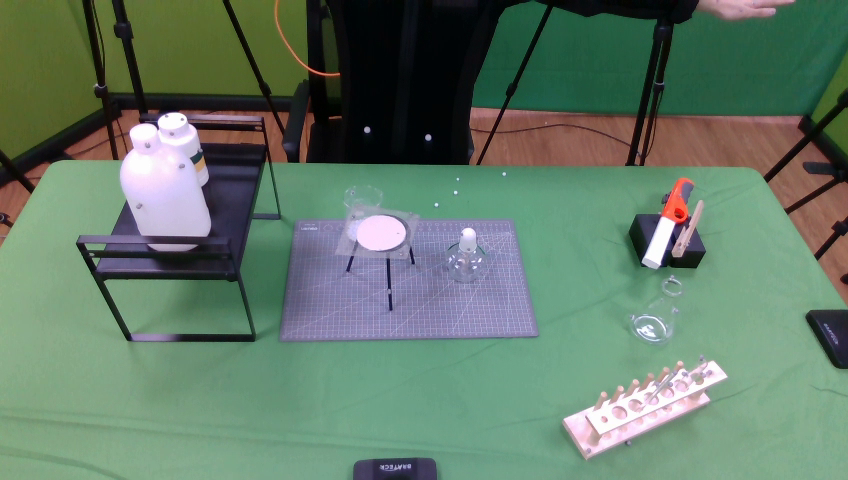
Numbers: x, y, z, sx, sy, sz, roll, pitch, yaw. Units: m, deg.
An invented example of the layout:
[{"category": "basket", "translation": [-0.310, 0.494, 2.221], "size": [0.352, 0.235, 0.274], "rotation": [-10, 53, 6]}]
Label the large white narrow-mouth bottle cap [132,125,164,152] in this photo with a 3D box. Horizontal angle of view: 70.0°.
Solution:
[{"category": "large white narrow-mouth bottle cap", "translation": [-0.371, -0.137, 0.813], "size": [0.038, 0.024, 0.037], "rotation": [3, 46, -3]}]

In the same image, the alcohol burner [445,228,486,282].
[{"category": "alcohol burner", "translation": [0.077, 0.021, 1.115], "size": [0.078, 0.120, 0.077], "rotation": [1, 48, -1]}]

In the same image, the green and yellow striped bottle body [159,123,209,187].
[{"category": "green and yellow striped bottle body", "translation": [-0.395, -0.145, 0.989], "size": [0.063, 0.120, 0.063], "rotation": [2, 46, -2]}]

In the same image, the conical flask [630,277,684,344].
[{"category": "conical flask", "translation": [0.408, 0.117, 1.045], "size": [0.075, 0.122, 0.075], "rotation": [2, 46, -2]}]

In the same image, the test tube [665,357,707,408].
[{"category": "test tube", "translation": [0.387, 0.215, 0.905], "size": [0.017, 0.151, 0.017], "rotation": [1, 52, -1]}]

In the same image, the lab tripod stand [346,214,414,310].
[{"category": "lab tripod stand", "translation": [-0.075, 0.030, 1.082], "size": [0.148, 0.132, 0.147], "rotation": [1, 47, -1]}]

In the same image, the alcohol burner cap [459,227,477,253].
[{"category": "alcohol burner cap", "translation": [0.079, -0.002, 1.088], "size": [0.034, 0.048, 0.033], "rotation": [-1, 54, 2]}]

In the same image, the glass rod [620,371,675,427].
[{"category": "glass rod", "translation": [0.315, 0.230, 0.863], "size": [0.008, 0.200, 0.008], "rotation": [3, 54, -3]}]

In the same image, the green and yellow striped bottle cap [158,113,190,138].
[{"category": "green and yellow striped bottle cap", "translation": [-0.393, -0.180, 0.951], "size": [0.045, 0.020, 0.045], "rotation": [2, 44, -2]}]

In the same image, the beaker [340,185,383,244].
[{"category": "beaker", "translation": [-0.119, -0.048, 1.177], "size": [0.084, 0.101, 0.073], "rotation": [-20, 51, -23]}]

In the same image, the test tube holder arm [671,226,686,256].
[{"category": "test tube holder arm", "translation": [0.494, 0.001, 1.167], "size": [0.010, 0.015, 0.087], "rotation": [1, 36, 42]}]

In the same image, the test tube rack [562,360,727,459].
[{"category": "test tube rack", "translation": [0.341, 0.247, 0.940], "size": [0.243, 0.085, 0.066], "rotation": [-16, 49, -19]}]

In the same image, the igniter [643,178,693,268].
[{"category": "igniter", "translation": [0.488, -0.042, 1.205], "size": [0.057, 0.025, 0.276], "rotation": [30, 51, 11]}]

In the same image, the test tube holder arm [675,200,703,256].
[{"category": "test tube holder arm", "translation": [0.523, -0.025, 1.190], "size": [0.013, 0.015, 0.178], "rotation": [1, 36, 41]}]

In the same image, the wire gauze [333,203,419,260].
[{"category": "wire gauze", "translation": [-0.079, -0.014, 1.030], "size": [0.121, 0.011, 0.124], "rotation": [8, 45, 6]}]

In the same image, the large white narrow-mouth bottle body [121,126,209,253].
[{"category": "large white narrow-mouth bottle body", "translation": [-0.378, -0.077, 0.875], "size": [0.102, 0.195, 0.101], "rotation": [3, 46, -3]}]
